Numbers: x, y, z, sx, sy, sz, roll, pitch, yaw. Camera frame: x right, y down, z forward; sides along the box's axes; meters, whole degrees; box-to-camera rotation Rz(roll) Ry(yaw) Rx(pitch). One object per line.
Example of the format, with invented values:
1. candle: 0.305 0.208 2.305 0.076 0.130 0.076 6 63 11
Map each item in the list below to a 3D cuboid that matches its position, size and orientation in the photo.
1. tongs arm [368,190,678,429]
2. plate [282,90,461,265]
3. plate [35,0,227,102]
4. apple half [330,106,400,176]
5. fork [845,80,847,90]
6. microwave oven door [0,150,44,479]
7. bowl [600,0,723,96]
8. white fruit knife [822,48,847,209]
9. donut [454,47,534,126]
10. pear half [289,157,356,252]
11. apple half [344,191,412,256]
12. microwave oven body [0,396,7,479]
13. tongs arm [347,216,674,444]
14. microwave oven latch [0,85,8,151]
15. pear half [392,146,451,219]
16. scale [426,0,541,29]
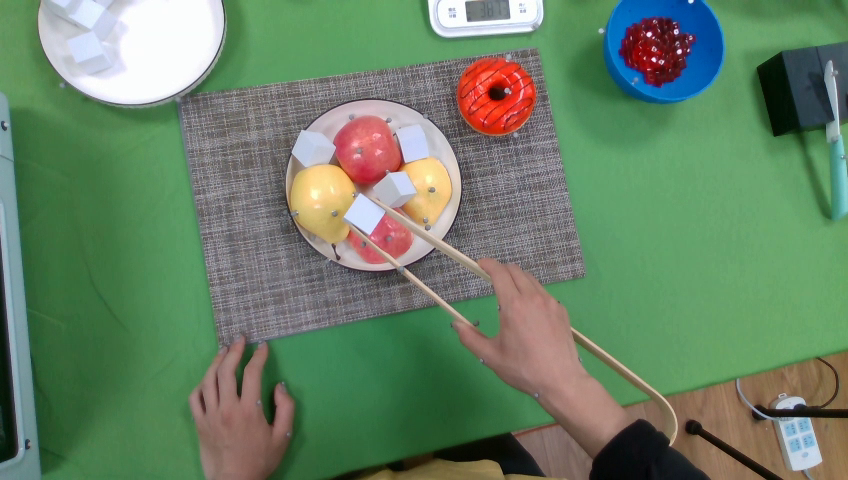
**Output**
1. tongs arm: 0.096 0.065 0.621 0.387 0.028 0.028 36 74 5
2. plate: -0.060 -0.073 0.719 0.209 0.038 0.208 1 84 -7
3. plate: -0.335 -0.259 0.710 0.208 0.039 0.207 1 84 -7
4. apple half: -0.070 -0.117 0.705 0.075 0.053 0.081 -23 90 -6
5. fork: 0.581 -0.111 0.790 0.028 0.018 0.208 -20 102 -10
6. microwave oven door: -0.436 0.067 0.543 0.039 0.244 0.355 -9 85 -7
7. bowl: 0.284 -0.245 0.762 0.151 0.077 0.151 1 85 -6
8. white fruit knife: 0.526 -0.140 0.779 0.016 0.027 0.208 -13 100 -8
9. donut: 0.085 -0.189 0.746 0.099 0.048 0.099 0 85 -4
10. pear half: -0.110 -0.041 0.688 0.076 0.056 0.110 -17 89 -16
11. apple half: -0.055 -0.021 0.706 0.081 0.033 0.081 1 78 -6
12. microwave oven body: -0.586 0.046 0.533 0.326 0.260 0.440 -8 86 -8
13. tongs arm: 0.082 0.083 0.617 0.384 0.026 0.050 40 78 6
14. microwave oven latch: -0.478 -0.138 0.662 0.030 0.029 0.079 -6 86 -8
15. pear half: -0.004 -0.071 0.720 0.070 0.031 0.087 -9 83 6
16. scale: 0.069 -0.373 0.772 0.149 0.031 0.200 -6 85 -7
